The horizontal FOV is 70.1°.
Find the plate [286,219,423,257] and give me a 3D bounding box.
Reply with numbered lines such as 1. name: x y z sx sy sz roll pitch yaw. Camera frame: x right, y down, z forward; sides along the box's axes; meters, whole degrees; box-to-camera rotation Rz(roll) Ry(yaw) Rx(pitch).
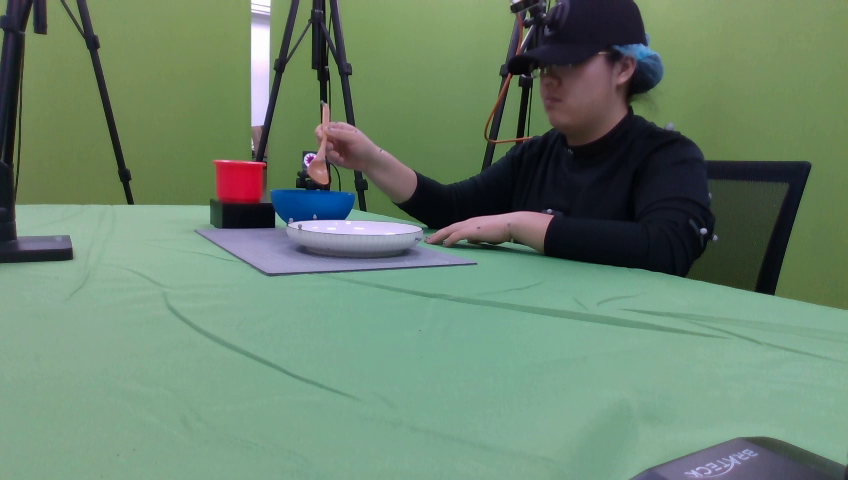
1. plate: -0.105 -0.004 0.922 0.208 0.039 0.207 3 8 0

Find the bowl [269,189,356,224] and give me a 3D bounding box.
1. bowl: -0.199 -0.049 1.080 0.151 0.077 0.151 3 7 0

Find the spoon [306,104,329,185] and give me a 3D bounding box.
1. spoon: -0.181 -0.174 1.074 0.042 0.193 0.021 24 -38 -30
